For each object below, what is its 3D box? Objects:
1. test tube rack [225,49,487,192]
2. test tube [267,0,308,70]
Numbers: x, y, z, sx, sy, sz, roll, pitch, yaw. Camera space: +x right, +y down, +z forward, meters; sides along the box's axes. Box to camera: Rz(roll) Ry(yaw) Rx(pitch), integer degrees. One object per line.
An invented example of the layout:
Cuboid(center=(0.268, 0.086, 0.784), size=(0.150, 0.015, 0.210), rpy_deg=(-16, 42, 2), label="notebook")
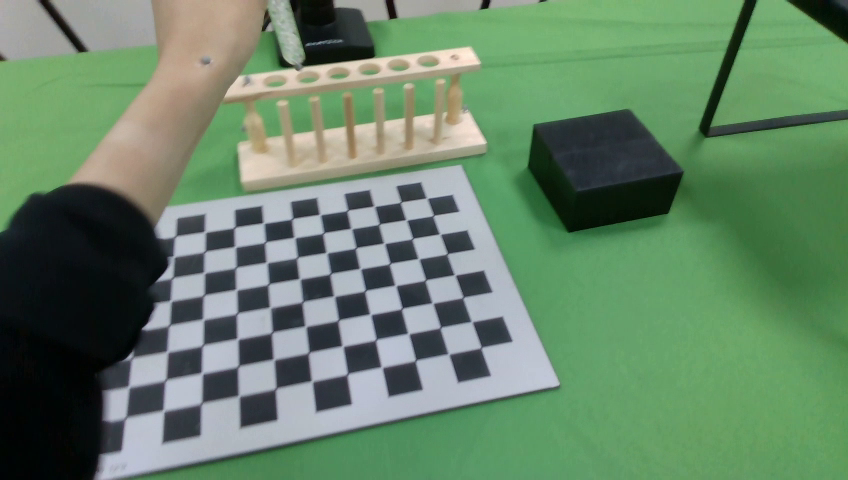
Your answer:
Cuboid(center=(-0.061, -0.118, 0.593), size=(0.243, 0.086, 0.066), rpy_deg=(-10, 46, -10), label="test tube rack")
Cuboid(center=(-0.097, -0.168, 0.390), size=(0.017, 0.151, 0.017), rpy_deg=(-1, 60, 3), label="test tube")
